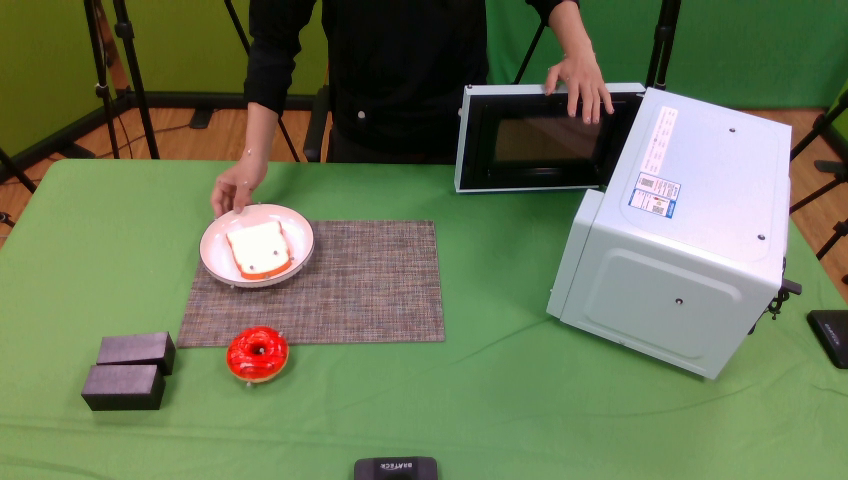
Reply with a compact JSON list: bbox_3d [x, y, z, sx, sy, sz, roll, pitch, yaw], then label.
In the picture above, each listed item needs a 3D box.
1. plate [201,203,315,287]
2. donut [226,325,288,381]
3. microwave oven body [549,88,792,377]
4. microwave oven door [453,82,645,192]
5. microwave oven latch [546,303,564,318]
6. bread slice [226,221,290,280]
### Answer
[{"bbox_3d":[-0.310,0.012,1.145,0.208,0.039,0.206,2,46,-2],"label":"plate"},{"bbox_3d":[-0.270,0.182,0.984,0.099,0.048,0.098,5,49,-5],"label":"donut"},{"bbox_3d":[0.456,-0.028,1.088,0.325,0.261,0.440,20,47,16],"label":"microwave oven body"},{"bbox_3d":[0.247,-0.207,1.239,0.356,0.245,0.039,-3,46,-7],"label":"microwave oven door"},{"bbox_3d":[0.242,0.102,1.081,0.030,0.029,0.079,21,48,17],"label":"microwave oven latch"},{"bbox_3d":[-0.308,0.019,1.141,0.105,0.019,0.130,-17,49,-18],"label":"bread slice"}]
